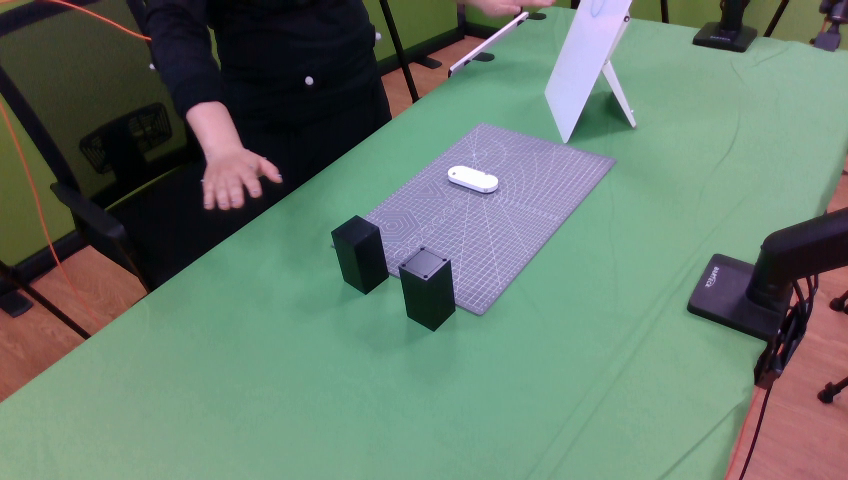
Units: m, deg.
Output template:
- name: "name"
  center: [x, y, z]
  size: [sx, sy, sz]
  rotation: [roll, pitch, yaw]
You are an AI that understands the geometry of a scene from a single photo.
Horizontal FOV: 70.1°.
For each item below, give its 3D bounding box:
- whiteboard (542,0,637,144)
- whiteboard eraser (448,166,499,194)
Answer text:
- name: "whiteboard"
  center: [0.366, -0.351, 1.160]
  size: [0.144, 0.305, 0.216]
  rotation: [10, 39, -10]
- name: "whiteboard eraser"
  center: [0.088, -0.108, 1.082]
  size: [0.100, 0.019, 0.041]
  rotation: [22, 49, 31]
